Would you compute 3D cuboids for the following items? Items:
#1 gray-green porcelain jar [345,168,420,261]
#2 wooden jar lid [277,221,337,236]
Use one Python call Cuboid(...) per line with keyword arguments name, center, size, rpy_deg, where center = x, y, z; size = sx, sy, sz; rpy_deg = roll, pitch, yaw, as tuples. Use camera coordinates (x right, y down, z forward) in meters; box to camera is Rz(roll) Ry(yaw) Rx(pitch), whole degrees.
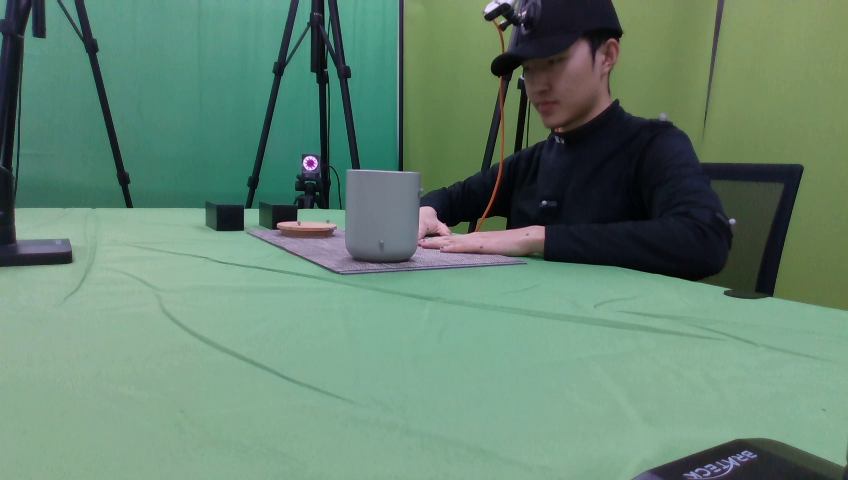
Cuboid(name="gray-green porcelain jar", center=(-0.059, -0.037, 0.858), size=(0.106, 0.126, 0.106), rpy_deg=(2, 7, 0))
Cuboid(name="wooden jar lid", center=(-0.215, -0.021, 1.111), size=(0.108, 0.020, 0.108), rpy_deg=(4, 7, 0))
